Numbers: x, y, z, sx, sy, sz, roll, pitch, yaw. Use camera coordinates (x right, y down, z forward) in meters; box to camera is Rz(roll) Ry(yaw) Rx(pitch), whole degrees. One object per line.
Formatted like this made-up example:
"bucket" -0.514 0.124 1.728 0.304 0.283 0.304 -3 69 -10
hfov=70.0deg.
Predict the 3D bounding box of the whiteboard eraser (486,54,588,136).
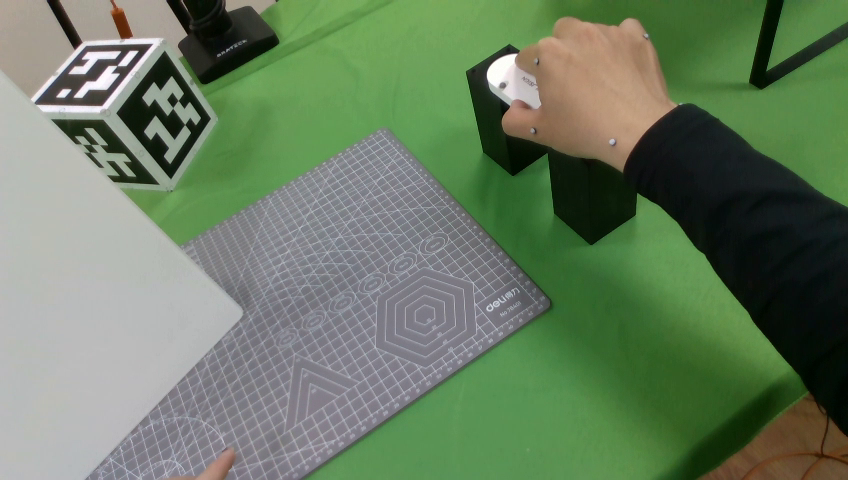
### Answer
"whiteboard eraser" 0.089 -0.120 0.490 0.041 0.019 0.100 -37 54 -7

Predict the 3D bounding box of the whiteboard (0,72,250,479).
"whiteboard" -0.340 0.030 0.488 0.142 0.308 0.217 16 58 49
